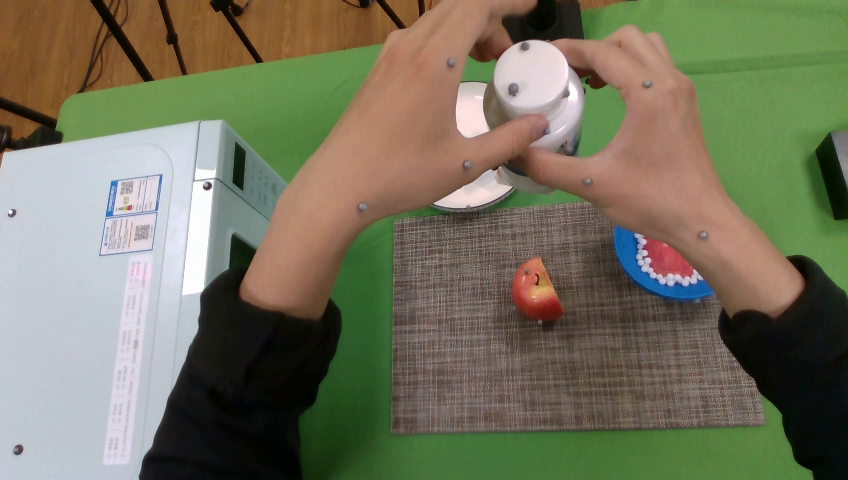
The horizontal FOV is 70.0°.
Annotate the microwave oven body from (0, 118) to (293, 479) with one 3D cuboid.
[{"bbox_3d":[-0.358,0.117,0.763,0.325,0.262,0.438,-6,70,10],"label":"microwave oven body"}]

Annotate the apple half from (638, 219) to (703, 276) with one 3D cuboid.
[{"bbox_3d":[0.305,0.005,0.746,0.081,0.033,0.080,-4,69,11],"label":"apple half"}]

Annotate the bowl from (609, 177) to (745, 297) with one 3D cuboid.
[{"bbox_3d":[0.305,0.006,0.750,0.151,0.077,0.150,-4,70,12],"label":"bowl"}]

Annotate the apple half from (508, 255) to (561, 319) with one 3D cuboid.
[{"bbox_3d":[0.135,0.066,0.771,0.053,0.075,0.080,-25,71,8],"label":"apple half"}]

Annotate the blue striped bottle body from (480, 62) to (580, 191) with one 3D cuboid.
[{"bbox_3d":[0.073,-0.080,0.408,0.063,0.121,0.063,-3,76,12],"label":"blue striped bottle body"}]

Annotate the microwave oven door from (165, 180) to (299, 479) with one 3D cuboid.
[{"bbox_3d":[-0.214,0.138,0.718,0.039,0.246,0.353,-7,70,11],"label":"microwave oven door"}]

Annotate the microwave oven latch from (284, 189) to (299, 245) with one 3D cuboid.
[{"bbox_3d":[-0.199,-0.033,0.885,0.030,0.030,0.078,-7,71,10],"label":"microwave oven latch"}]

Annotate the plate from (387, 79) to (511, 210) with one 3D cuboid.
[{"bbox_3d":[0.050,-0.136,0.885,0.207,0.039,0.206,-4,71,11],"label":"plate"}]

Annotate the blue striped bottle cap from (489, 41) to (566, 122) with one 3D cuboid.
[{"bbox_3d":[0.060,-0.093,0.355,0.044,0.021,0.044,-4,75,14],"label":"blue striped bottle cap"}]
